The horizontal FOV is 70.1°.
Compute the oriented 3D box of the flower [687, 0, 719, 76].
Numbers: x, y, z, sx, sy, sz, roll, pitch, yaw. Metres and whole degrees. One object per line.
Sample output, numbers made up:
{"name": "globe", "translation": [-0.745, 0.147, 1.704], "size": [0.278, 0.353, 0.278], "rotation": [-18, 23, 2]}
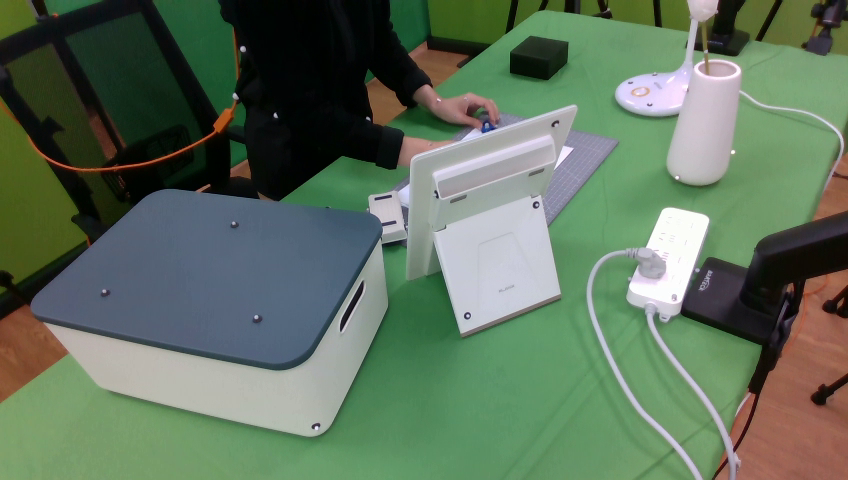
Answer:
{"name": "flower", "translation": [0.436, -0.242, 0.934], "size": [0.038, 0.364, 0.043], "rotation": [-24, 49, 8]}

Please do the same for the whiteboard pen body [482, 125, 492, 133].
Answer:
{"name": "whiteboard pen body", "translation": [0.116, -0.143, 1.013], "size": [0.017, 0.142, 0.017], "rotation": [-8, 58, 13]}

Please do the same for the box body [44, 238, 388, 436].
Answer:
{"name": "box body", "translation": [-0.251, 0.088, 0.799], "size": [0.362, 0.161, 0.254], "rotation": [7, 42, 16]}

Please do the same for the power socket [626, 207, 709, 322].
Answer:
{"name": "power socket", "translation": [0.360, 0.026, 0.886], "size": [0.072, 0.033, 0.227], "rotation": [17, 46, 27]}

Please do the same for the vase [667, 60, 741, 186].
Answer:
{"name": "vase", "translation": [0.463, -0.189, 0.994], "size": [0.098, 0.201, 0.097], "rotation": [-4, 40, 4]}

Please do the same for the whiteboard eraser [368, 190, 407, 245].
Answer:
{"name": "whiteboard eraser", "translation": [-0.061, -0.035, 1.006], "size": [0.056, 0.042, 0.112], "rotation": [-9, 40, -3]}

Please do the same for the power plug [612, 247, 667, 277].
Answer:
{"name": "power plug", "translation": [0.306, 0.031, 0.852], "size": [0.072, 0.053, 0.035], "rotation": [21, 48, 37]}

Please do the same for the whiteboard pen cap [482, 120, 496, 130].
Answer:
{"name": "whiteboard pen cap", "translation": [0.132, -0.228, 1.224], "size": [0.018, 0.018, 0.033], "rotation": [-18, 43, -13]}

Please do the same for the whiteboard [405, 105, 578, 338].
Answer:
{"name": "whiteboard", "translation": [0.102, 0.003, 0.787], "size": [0.218, 0.306, 0.143], "rotation": [-19, 62, -14]}

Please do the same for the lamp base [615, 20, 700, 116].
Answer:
{"name": "lamp base", "translation": [0.484, -0.364, 1.211], "size": [0.180, 0.181, 0.159], "rotation": [-15, 41, -14]}

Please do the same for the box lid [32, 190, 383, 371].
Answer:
{"name": "box lid", "translation": [-0.257, 0.032, 0.750], "size": [0.370, 0.015, 0.263], "rotation": [7, 42, 16]}
